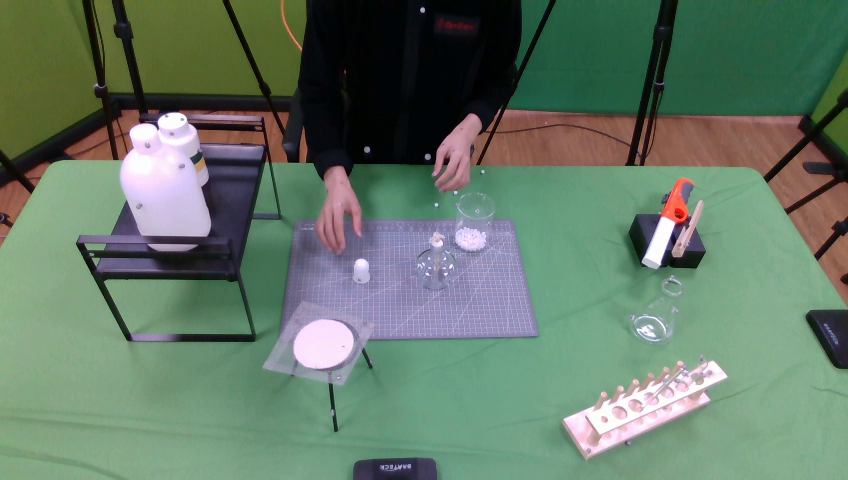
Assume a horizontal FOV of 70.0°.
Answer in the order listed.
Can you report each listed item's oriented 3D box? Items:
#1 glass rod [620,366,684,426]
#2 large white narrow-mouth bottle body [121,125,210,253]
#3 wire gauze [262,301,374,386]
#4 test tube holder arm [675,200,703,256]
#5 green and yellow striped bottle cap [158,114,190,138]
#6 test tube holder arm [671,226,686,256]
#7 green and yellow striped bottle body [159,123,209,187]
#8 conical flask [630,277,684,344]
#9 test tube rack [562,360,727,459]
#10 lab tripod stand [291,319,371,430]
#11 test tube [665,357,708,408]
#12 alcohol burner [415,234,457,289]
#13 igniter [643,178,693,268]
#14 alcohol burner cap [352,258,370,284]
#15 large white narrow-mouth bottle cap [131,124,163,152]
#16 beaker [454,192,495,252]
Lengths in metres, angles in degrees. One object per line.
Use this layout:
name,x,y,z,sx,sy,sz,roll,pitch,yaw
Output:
glass rod,0.322,0.227,0.866,0.008,0.200,0.008,5,51,-7
large white narrow-mouth bottle body,-0.378,-0.077,0.875,0.102,0.195,0.101,3,46,-3
wire gauze,-0.150,0.148,0.873,0.121,0.011,0.124,14,46,12
test tube holder arm,0.523,-0.025,1.190,0.013,0.015,0.178,1,36,41
green and yellow striped bottle cap,-0.392,-0.180,0.951,0.045,0.020,0.045,2,44,-2
test tube holder arm,0.494,0.001,1.167,0.010,0.015,0.087,1,36,42
green and yellow striped bottle body,-0.395,-0.145,0.989,0.063,0.120,0.063,2,46,-2
conical flask,0.408,0.117,1.045,0.075,0.122,0.075,2,46,-2
test tube rack,0.341,0.247,0.940,0.243,0.085,0.066,-16,49,-18
lab tripod stand,-0.146,0.193,0.923,0.148,0.132,0.147,1,47,-1
test tube,0.387,0.216,0.905,0.017,0.151,0.017,1,52,-1
alcohol burner,0.022,0.033,1.099,0.078,0.120,0.077,1,47,-1
igniter,0.488,-0.042,1.205,0.057,0.025,0.276,30,51,11
alcohol burner cap,-0.117,0.055,1.118,0.034,0.048,0.033,2,46,-2
large white narrow-mouth bottle cap,-0.371,-0.137,0.813,0.038,0.024,0.037,3,46,-3
beaker,0.097,-0.034,1.180,0.074,0.101,0.084,23,49,17
